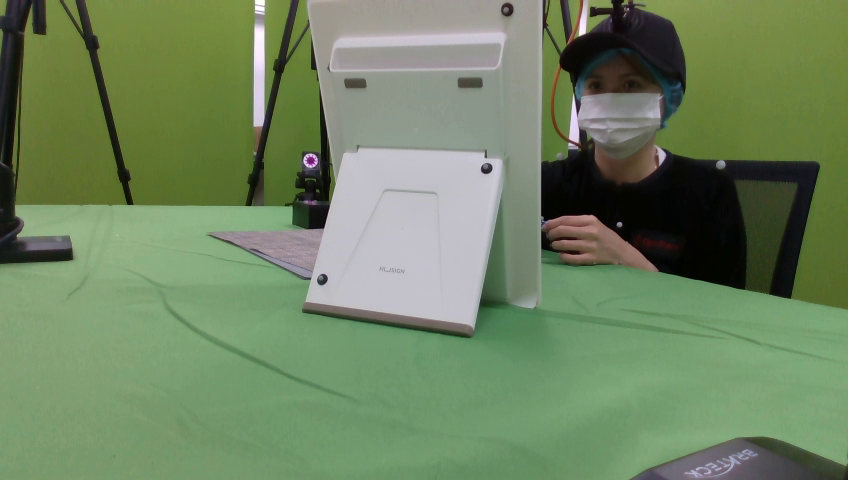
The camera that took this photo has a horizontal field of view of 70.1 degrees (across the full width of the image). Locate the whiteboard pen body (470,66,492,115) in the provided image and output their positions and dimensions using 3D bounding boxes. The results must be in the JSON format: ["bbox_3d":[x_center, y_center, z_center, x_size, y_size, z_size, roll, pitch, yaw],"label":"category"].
[{"bbox_3d":[0.057,-0.149,0.604,0.017,0.017,0.140,3,30,-1],"label":"whiteboard pen body"}]

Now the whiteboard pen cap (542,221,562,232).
[{"bbox_3d":[0.194,-0.022,0.927,0.033,0.018,0.018,2,6,38],"label":"whiteboard pen cap"}]

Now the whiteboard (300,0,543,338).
[{"bbox_3d":[-0.020,-0.050,0.523,0.216,0.305,0.144,6,27,22],"label":"whiteboard"}]
